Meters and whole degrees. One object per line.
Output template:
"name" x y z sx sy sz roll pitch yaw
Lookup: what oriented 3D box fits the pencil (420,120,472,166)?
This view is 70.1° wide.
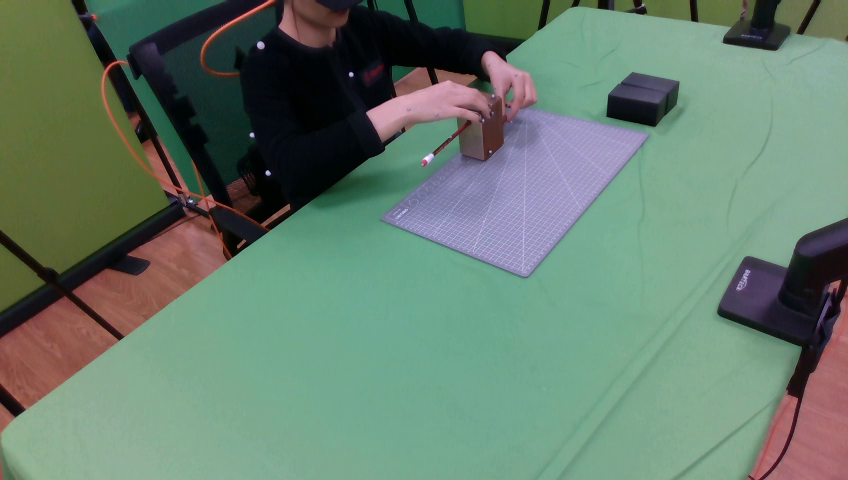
"pencil" 0.054 -0.187 1.084 0.012 0.012 0.194 22 51 32

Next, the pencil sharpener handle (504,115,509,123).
"pencil sharpener handle" 0.143 -0.255 1.165 0.035 0.068 0.031 6 39 43

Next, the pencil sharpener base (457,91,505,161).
"pencil sharpener base" 0.111 -0.218 1.147 0.061 0.107 0.077 21 49 32
